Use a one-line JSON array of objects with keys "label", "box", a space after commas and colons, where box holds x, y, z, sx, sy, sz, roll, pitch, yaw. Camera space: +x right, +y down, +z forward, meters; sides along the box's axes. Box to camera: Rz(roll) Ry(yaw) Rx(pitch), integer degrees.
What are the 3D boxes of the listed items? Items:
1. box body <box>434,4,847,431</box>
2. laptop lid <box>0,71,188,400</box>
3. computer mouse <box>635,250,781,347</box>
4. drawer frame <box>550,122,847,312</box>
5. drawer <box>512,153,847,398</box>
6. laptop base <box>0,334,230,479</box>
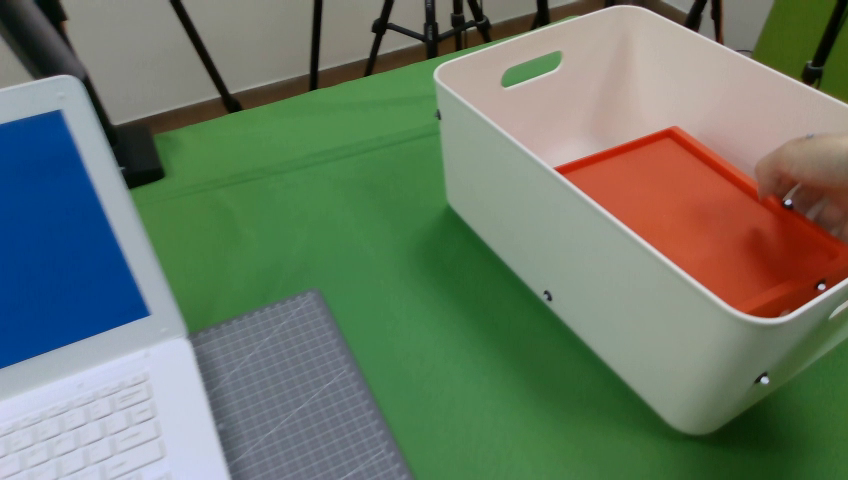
[{"label": "box body", "box": [0.203, -0.046, 0.538, 0.254, 0.162, 0.360, -24, 48, -21]}, {"label": "laptop lid", "box": [-0.390, 0.034, 0.442, 0.357, 0.243, 0.013, -22, 18, -17]}, {"label": "computer mouse", "box": [0.248, 0.048, 0.530, 0.117, 0.041, 0.062, -19, 51, -6]}, {"label": "drawer frame", "box": [0.214, 0.004, 0.536, 0.202, 0.083, 0.211, -21, 47, -17]}, {"label": "drawer", "box": [0.215, 0.014, 0.544, 0.195, 0.074, 0.209, -19, 42, -20]}, {"label": "laptop base", "box": [-0.308, 0.214, 0.402, 0.355, 0.023, 0.233, -21, 50, -17]}]
